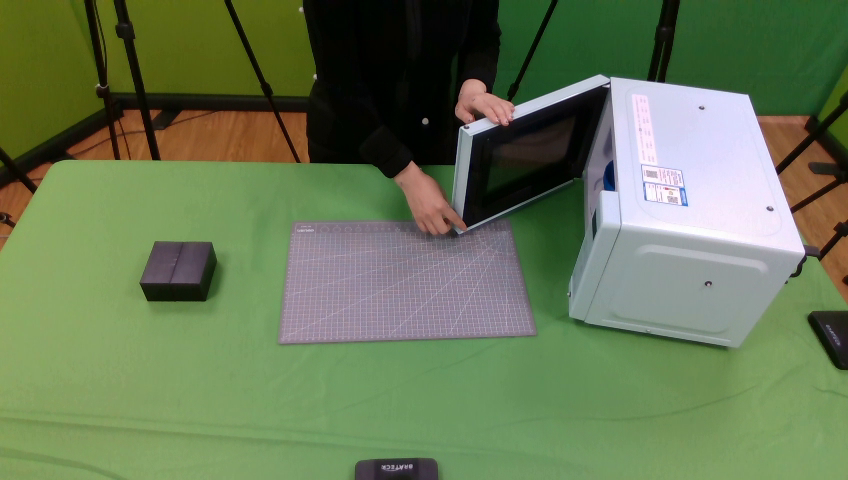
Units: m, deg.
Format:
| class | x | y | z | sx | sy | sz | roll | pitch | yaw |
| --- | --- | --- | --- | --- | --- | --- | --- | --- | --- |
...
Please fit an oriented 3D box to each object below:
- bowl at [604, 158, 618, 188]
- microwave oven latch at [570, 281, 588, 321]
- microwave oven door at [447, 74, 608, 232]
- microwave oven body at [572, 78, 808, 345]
| class | x | y | z | sx | sy | sz | roll | pitch | yaw |
| --- | --- | --- | --- | --- | --- | --- | --- | --- | --- |
| bowl | 0.422 | -0.093 | 1.195 | 0.151 | 0.077 | 0.150 | 4 | 48 | -4 |
| microwave oven latch | 0.276 | 0.105 | 1.082 | 0.030 | 0.029 | 0.079 | 10 | 45 | 6 |
| microwave oven door | 0.207 | -0.174 | 1.206 | 0.356 | 0.245 | 0.039 | -25 | 53 | -25 |
| microwave oven body | 0.456 | -0.063 | 1.125 | 0.326 | 0.261 | 0.439 | 8 | 45 | 5 |
